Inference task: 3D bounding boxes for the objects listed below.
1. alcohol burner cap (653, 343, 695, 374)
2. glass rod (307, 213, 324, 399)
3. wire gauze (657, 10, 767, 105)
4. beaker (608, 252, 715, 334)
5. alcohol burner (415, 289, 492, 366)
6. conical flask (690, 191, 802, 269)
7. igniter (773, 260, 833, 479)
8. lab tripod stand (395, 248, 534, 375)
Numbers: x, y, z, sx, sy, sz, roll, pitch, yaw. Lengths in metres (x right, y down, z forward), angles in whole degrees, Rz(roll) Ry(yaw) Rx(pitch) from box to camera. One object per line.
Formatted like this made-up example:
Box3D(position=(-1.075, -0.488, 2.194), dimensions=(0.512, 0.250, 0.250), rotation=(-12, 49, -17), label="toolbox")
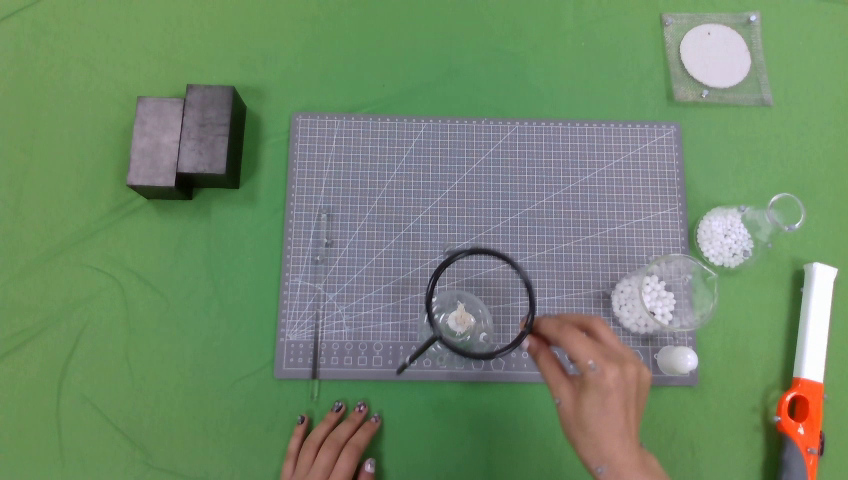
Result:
Box3D(position=(0.264, 0.123, 0.633), dimensions=(0.034, 0.048, 0.033), rotation=(0, 78, -1), label="alcohol burner cap")
Box3D(position=(-0.116, 0.068, 0.650), dimensions=(0.008, 0.008, 0.199), rotation=(2, 81, -1), label="glass rod")
Box3D(position=(0.346, -0.220, 0.726), dimensions=(0.125, 0.011, 0.121), rotation=(0, 79, -4), label="wire gauze")
Box3D(position=(0.237, 0.057, 0.616), dimensions=(0.084, 0.100, 0.073), rotation=(-22, 79, -6), label="beaker")
Box3D(position=(0.030, 0.084, 0.597), dimensions=(0.078, 0.119, 0.077), rotation=(0, 77, 1), label="alcohol burner")
Box3D(position=(0.336, -0.016, 0.625), dimensions=(0.075, 0.122, 0.075), rotation=(0, 77, -1), label="conical flask")
Box3D(position=(0.400, 0.156, 0.640), dimensions=(0.057, 0.025, 0.275), rotation=(16, 78, -9), label="igniter")
Box3D(position=(0.035, 0.070, 0.540), dimensions=(0.149, 0.132, 0.147), rotation=(2, 77, -7), label="lab tripod stand")
